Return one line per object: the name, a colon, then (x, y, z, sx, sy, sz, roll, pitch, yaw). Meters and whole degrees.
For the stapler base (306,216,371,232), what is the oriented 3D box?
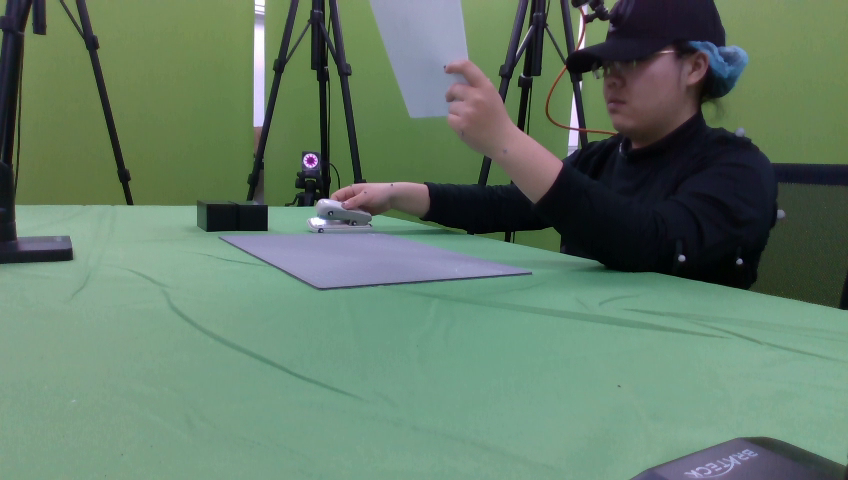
stapler base: (-0.164, -0.037, 1.177, 0.131, 0.024, 0.041, 1, 39, -35)

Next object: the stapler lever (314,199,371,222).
stapler lever: (-0.155, -0.056, 1.166, 0.119, 0.040, 0.026, 0, 39, -35)
